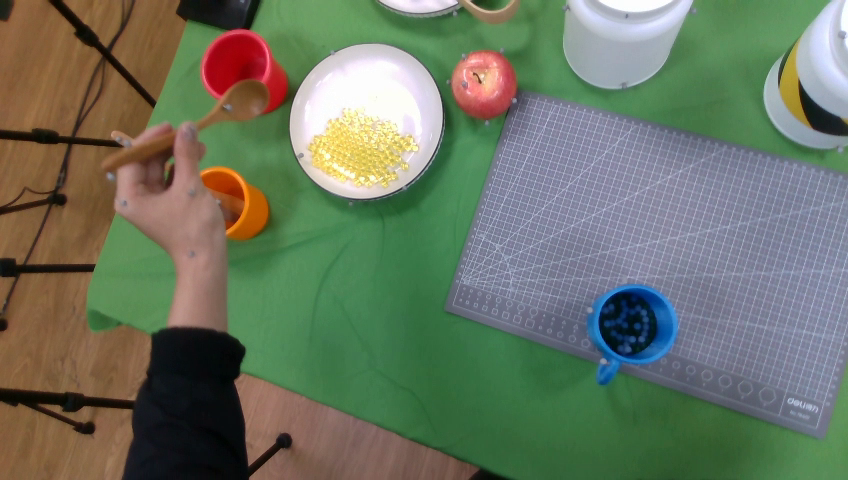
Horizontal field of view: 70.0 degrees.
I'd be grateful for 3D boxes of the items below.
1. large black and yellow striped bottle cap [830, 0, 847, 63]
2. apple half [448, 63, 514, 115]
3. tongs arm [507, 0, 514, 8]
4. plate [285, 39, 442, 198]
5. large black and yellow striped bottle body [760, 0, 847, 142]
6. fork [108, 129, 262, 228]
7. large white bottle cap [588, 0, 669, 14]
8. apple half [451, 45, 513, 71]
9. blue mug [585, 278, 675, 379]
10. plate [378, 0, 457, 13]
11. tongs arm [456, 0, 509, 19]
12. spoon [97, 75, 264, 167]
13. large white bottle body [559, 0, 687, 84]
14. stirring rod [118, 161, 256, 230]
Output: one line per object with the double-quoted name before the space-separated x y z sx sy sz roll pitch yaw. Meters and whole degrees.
"large black and yellow striped bottle cap" 0.430 -0.200 0.542 0.115 0.019 0.114 -1 85 10
"apple half" 0.069 -0.182 0.748 0.080 0.075 0.053 3 88 7
"tongs arm" 0.023 -0.456 0.772 0.028 0.028 0.385 -29 77 0
"plate" -0.077 -0.156 0.789 0.209 0.038 0.208 -1 84 11
"large black and yellow striped bottle body" 0.445 -0.188 0.624 0.130 0.185 0.130 -1 83 11
"fork" -0.296 -0.076 0.762 0.209 0.018 0.028 35 90 -32
"large white bottle cap" 0.202 -0.277 0.589 0.114 0.018 0.114 -1 83 11
"apple half" 0.072 -0.221 0.750 0.081 0.081 0.033 3 89 11
"blue mug" 0.217 0.101 0.671 0.082 0.106 0.116 26 89 12
"plate" 0.002 -0.396 0.800 0.207 0.039 0.207 -1 84 10
"tongs arm" -0.042 -0.404 0.776 0.051 0.026 0.382 -43 76 0
"spoon" -0.215 -0.110 0.556 0.021 0.193 0.042 19 128 17
"large white bottle body" 0.219 -0.266 0.672 0.130 0.185 0.130 -1 83 10
"stirring rod" -0.294 -0.054 0.762 0.177 0.006 0.014 27 76 -29
